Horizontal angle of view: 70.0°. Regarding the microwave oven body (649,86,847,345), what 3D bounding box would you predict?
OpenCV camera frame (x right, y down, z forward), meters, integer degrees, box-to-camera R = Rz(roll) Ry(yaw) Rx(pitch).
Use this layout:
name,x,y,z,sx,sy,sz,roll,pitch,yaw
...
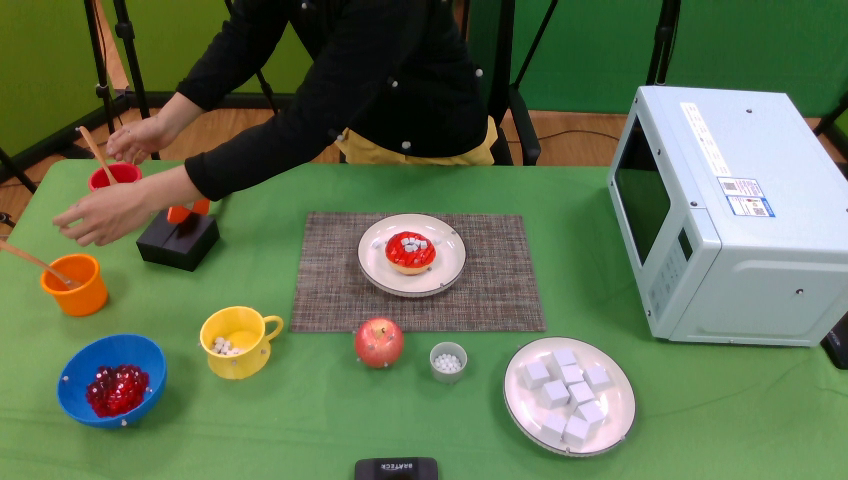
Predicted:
name,x,y,z,sx,sy,sz,roll,pitch,yaw
microwave oven body,0.568,-0.053,1.118,0.326,0.261,0.439,2,45,-1

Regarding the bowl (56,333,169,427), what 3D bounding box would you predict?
name,x,y,z,sx,sy,sz,roll,pitch,yaw
bowl,-0.456,0.223,0.911,0.151,0.077,0.150,3,46,-2

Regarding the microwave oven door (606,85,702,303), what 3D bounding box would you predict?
name,x,y,z,sx,sy,sz,roll,pitch,yaw
microwave oven door,0.423,-0.094,1.140,0.039,0.245,0.353,2,46,-1

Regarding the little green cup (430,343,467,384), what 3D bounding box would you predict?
name,x,y,z,sx,sy,sz,roll,pitch,yaw
little green cup,0.038,0.203,0.993,0.061,0.039,0.061,2,46,-2

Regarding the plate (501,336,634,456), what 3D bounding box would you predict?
name,x,y,z,sx,sy,sz,roll,pitch,yaw
plate,0.225,0.249,0.963,0.208,0.039,0.206,2,46,-2

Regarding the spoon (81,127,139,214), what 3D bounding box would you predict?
name,x,y,z,sx,sy,sz,roll,pitch,yaw
spoon,-0.625,-0.138,1.202,0.041,0.021,0.194,-30,99,-27

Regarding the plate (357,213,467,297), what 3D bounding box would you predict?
name,x,y,z,sx,sy,sz,roll,pitch,yaw
plate,-0.023,0.032,1.149,0.209,0.038,0.208,2,46,-2

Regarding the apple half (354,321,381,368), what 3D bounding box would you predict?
name,x,y,z,sx,sy,sz,roll,pitch,yaw
apple half,-0.097,0.176,0.985,0.033,0.081,0.080,-12,48,-20

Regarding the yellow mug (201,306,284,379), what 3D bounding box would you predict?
name,x,y,z,sx,sy,sz,roll,pitch,yaw
yellow mug,-0.291,0.160,0.993,0.131,0.064,0.099,-23,51,-25

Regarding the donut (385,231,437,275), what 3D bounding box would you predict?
name,x,y,z,sx,sy,sz,roll,pitch,yaw
donut,-0.025,0.024,1.141,0.099,0.048,0.098,4,44,-3

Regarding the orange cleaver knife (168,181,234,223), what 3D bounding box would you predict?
name,x,y,z,sx,sy,sz,roll,pitch,yaw
orange cleaver knife,-0.436,-0.078,1.196,0.012,0.077,0.211,16,15,9

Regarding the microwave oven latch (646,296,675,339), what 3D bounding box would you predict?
name,x,y,z,sx,sy,sz,roll,pitch,yaw
microwave oven latch,0.412,0.134,1.061,0.030,0.029,0.078,4,45,1

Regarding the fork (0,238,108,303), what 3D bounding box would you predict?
name,x,y,z,sx,sy,sz,roll,pitch,yaw
fork,-0.632,0.048,1.017,0.208,0.018,0.028,40,43,-27

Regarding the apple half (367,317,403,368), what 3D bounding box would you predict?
name,x,y,z,sx,sy,sz,roll,pitch,yaw
apple half,-0.062,0.167,0.998,0.053,0.075,0.080,-11,44,-21
